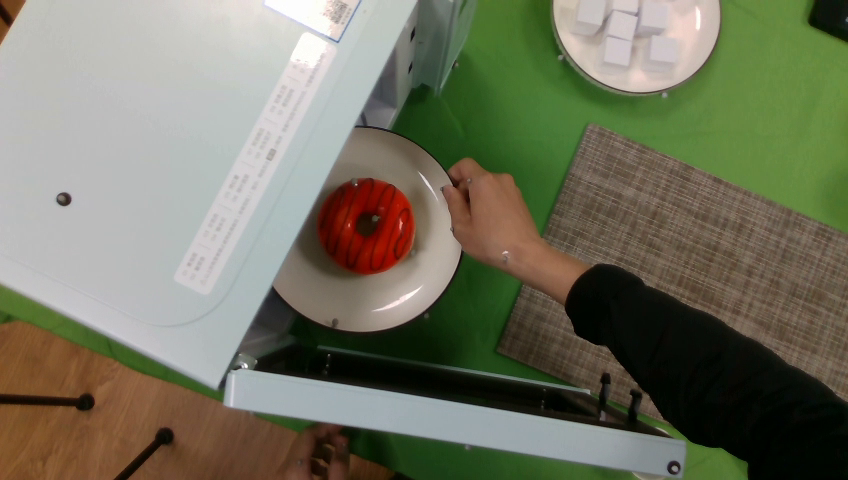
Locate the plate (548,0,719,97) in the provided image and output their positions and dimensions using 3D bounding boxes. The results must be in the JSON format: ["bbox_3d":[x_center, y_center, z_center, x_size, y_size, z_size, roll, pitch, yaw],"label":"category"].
[{"bbox_3d":[0.251,-0.272,0.740,0.208,0.039,0.207,0,85,-3],"label":"plate"}]

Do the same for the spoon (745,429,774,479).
[{"bbox_3d":[0.411,0.315,0.710,0.042,0.021,0.193,-13,88,-19],"label":"spoon"}]

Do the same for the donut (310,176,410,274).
[{"bbox_3d":[-0.063,-0.015,0.600,0.099,0.048,0.099,1,84,-9],"label":"donut"}]

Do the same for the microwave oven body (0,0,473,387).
[{"bbox_3d":[-0.186,-0.134,0.589,0.326,0.260,0.441,26,85,-1],"label":"microwave oven body"}]

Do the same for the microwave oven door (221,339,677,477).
[{"bbox_3d":[0.017,0.149,0.574,0.356,0.244,0.039,10,84,-2],"label":"microwave oven door"}]

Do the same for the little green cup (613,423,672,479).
[{"bbox_3d":[0.249,0.241,0.700,0.061,0.039,0.061,0,82,-3],"label":"little green cup"}]

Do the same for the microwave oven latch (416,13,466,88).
[{"bbox_3d":[0.020,-0.219,0.704,0.030,0.029,0.079,30,85,-1],"label":"microwave oven latch"}]

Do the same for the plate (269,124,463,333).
[{"bbox_3d":[-0.066,-0.011,0.612,0.209,0.038,0.208,0,86,-5],"label":"plate"}]
